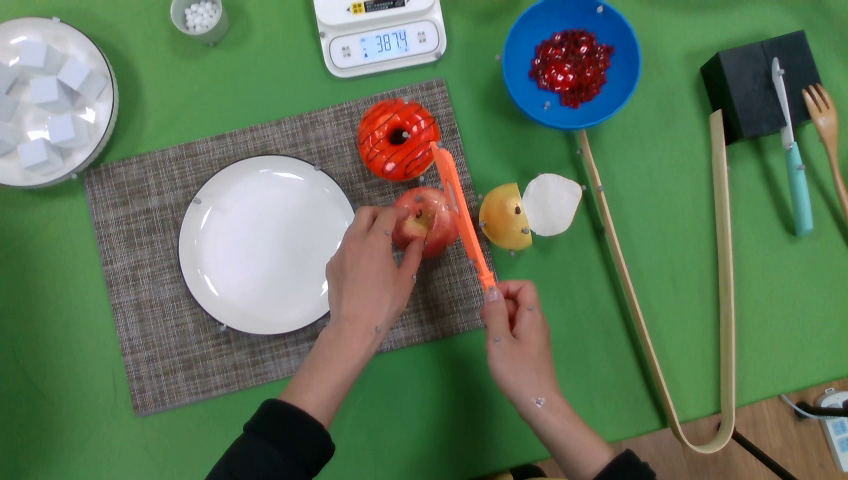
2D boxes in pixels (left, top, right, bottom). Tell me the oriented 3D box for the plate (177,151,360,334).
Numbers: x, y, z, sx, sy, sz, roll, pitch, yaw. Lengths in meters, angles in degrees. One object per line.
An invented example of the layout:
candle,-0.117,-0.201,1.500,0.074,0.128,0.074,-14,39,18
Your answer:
plate,-0.175,0.003,0.700,0.209,0.038,0.208,0,86,1

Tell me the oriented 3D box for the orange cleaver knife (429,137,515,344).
orange cleaver knife,0.045,0.000,0.593,0.012,0.077,0.212,-21,101,-5

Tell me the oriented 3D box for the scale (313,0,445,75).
scale,-0.062,-0.307,0.725,0.149,0.031,0.200,-10,86,1

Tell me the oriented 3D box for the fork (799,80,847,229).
fork,0.464,-0.081,0.682,0.028,0.018,0.208,-24,101,-3

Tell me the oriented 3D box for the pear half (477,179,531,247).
pear half,0.087,-0.028,0.664,0.056,0.110,0.076,-21,82,2

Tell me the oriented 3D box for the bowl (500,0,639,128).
bowl,0.158,-0.194,0.690,0.151,0.077,0.151,0,87,1

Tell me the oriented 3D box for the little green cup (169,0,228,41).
little green cup,-0.267,-0.270,0.724,0.061,0.039,0.061,0,86,2

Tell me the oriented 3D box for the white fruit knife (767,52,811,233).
white fruit knife,0.406,-0.106,0.677,0.016,0.027,0.208,-17,100,0

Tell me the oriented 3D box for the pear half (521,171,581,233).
pear half,0.150,-0.047,0.689,0.031,0.088,0.070,-20,84,-43

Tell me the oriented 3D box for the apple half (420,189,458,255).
apple half,0.022,-0.015,0.678,0.033,0.081,0.081,20,86,6

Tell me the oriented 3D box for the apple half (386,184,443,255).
apple half,-0.015,-0.027,0.680,0.053,0.075,0.081,19,90,6

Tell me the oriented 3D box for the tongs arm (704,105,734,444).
tongs arm,0.336,0.036,0.698,0.028,0.028,0.386,1,86,-8

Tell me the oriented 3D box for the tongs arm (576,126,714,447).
tongs arm,0.250,0.050,0.693,0.051,0.026,0.384,-15,87,-6

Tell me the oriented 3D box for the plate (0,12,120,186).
plate,-0.461,-0.165,0.721,0.207,0.039,0.207,0,86,1

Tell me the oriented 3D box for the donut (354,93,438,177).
donut,-0.033,-0.122,0.702,0.099,0.048,0.099,0,87,3
